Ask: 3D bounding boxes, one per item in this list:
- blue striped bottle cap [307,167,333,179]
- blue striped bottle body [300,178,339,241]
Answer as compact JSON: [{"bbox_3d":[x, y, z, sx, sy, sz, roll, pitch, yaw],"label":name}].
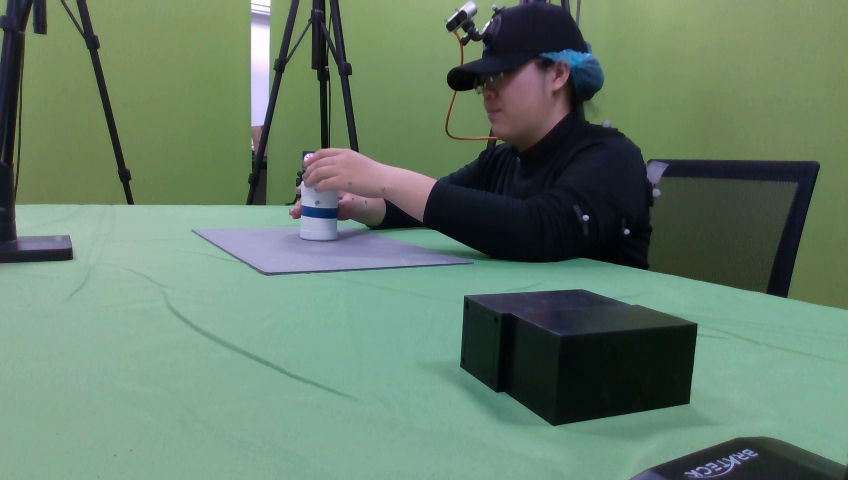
[{"bbox_3d":[-0.174,-0.112,1.011,0.044,0.020,0.044,3,6,0],"label":"blue striped bottle cap"},{"bbox_3d":[-0.176,-0.062,1.018,0.063,0.120,0.063,3,7,0],"label":"blue striped bottle body"}]
